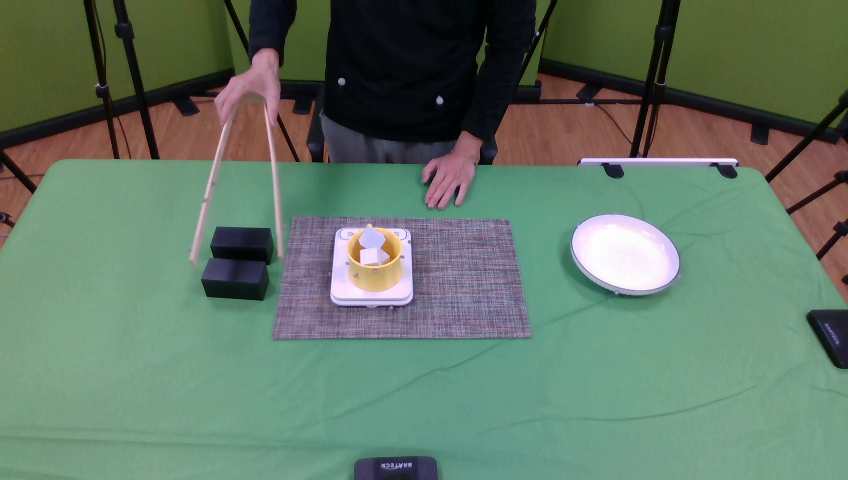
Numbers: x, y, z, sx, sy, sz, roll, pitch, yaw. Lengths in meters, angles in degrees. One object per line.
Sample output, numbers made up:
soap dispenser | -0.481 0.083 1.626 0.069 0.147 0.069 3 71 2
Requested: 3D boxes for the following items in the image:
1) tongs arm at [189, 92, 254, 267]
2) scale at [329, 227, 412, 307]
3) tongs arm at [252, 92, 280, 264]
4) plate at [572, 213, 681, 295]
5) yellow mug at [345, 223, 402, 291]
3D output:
tongs arm | -0.353 -0.120 1.071 0.051 0.026 0.382 0 56 -2
scale | -0.099 0.042 1.139 0.149 0.032 0.199 1 46 -4
tongs arm | -0.279 -0.123 1.079 0.028 0.028 0.385 -11 58 -5
plate | 0.392 0.030 1.189 0.208 0.039 0.206 2 46 -2
yellow mug | -0.092 0.022 1.093 0.100 0.064 0.130 -8 46 -10
